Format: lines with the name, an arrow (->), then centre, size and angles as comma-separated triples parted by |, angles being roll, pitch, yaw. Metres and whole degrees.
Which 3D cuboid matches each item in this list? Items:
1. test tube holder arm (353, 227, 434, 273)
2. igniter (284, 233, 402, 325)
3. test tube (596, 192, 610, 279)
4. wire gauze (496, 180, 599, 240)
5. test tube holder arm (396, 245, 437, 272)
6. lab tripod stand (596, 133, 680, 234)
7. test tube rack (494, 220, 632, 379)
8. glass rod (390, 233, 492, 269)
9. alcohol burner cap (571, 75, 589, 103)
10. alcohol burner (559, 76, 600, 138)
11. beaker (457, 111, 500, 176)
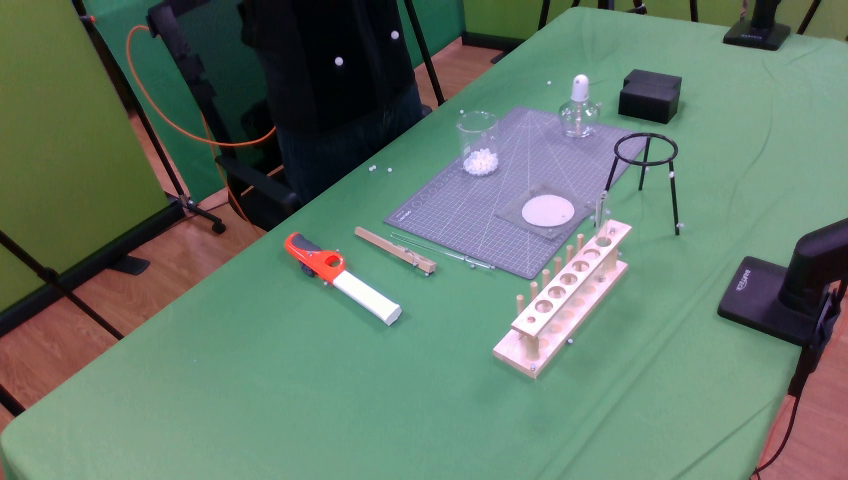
test tube holder arm -> -0.053, 0.014, 0.978 | 0.177, 0.015, 0.013 | 25, 17, 34
igniter -> -0.136, 0.054, 0.942 | 0.274, 0.025, 0.057 | 30, 63, 37
test tube -> 0.240, -0.002, 0.814 | 0.017, 0.151, 0.017 | -7, 42, 7
wire gauze -> 0.206, -0.050, 1.012 | 0.125, 0.011, 0.120 | -34, 45, -26
test tube holder arm -> -0.016, 0.029, 0.957 | 0.087, 0.015, 0.010 | 25, 17, 35
lab tripod stand -> 0.338, -0.091, 0.940 | 0.148, 0.132, 0.147 | -7, 39, 6
test tube rack -> 0.191, 0.068, 0.818 | 0.066, 0.085, 0.243 | 25, 51, 35
glass rod -> 0.023, 0.017, 0.971 | 0.198, 0.008, 0.008 | 18, 48, 32
alcohol burner cap -> 0.294, -0.284, 1.132 | 0.034, 0.048, 0.033 | -5, 46, 5
alcohol burner -> 0.298, -0.258, 1.156 | 0.078, 0.119, 0.077 | -4, 39, 4
beaker -> 0.104, -0.176, 1.108 | 0.073, 0.101, 0.084 | 16, 46, 27
